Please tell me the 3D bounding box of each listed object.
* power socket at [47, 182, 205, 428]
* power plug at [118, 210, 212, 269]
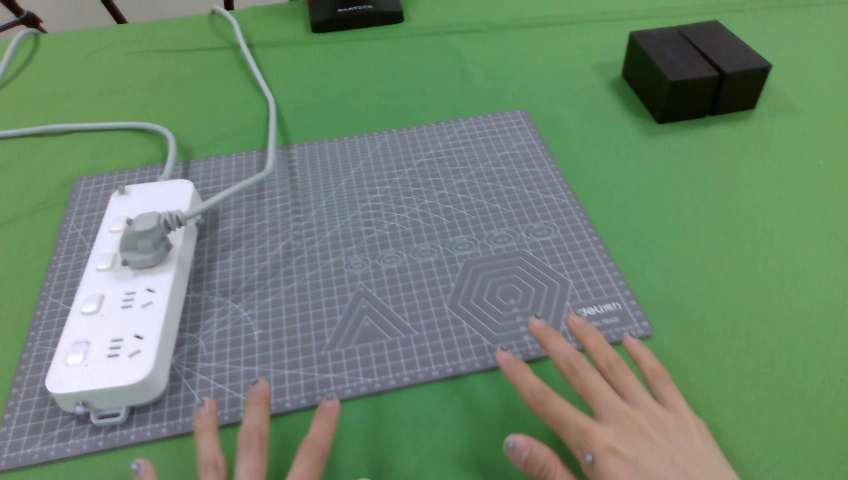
[{"bbox_3d":[-0.220,0.033,0.466,0.072,0.033,0.224,-5,45,-4],"label":"power socket"},{"bbox_3d":[-0.194,0.006,0.457,0.072,0.053,0.035,0,46,5],"label":"power plug"}]
